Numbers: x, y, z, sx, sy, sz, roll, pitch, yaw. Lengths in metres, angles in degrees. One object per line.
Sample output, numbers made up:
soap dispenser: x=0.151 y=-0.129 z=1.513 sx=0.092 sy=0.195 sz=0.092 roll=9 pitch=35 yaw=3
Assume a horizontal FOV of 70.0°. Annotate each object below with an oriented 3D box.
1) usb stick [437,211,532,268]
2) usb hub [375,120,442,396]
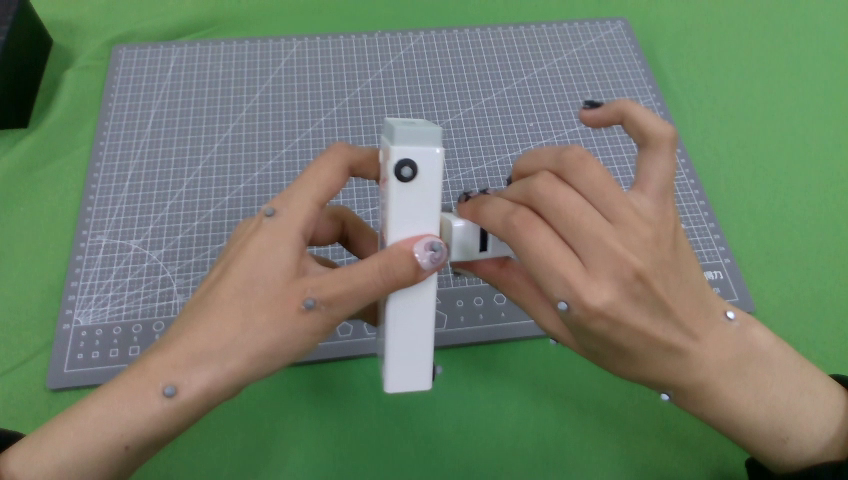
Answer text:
usb stick: x=0.022 y=-0.001 z=0.301 sx=0.059 sy=0.021 sz=0.027 roll=-2 pitch=22 yaw=-12
usb hub: x=-0.009 y=0.008 z=0.291 sx=0.025 sy=0.125 sz=0.049 roll=-1 pitch=16 yaw=-9
